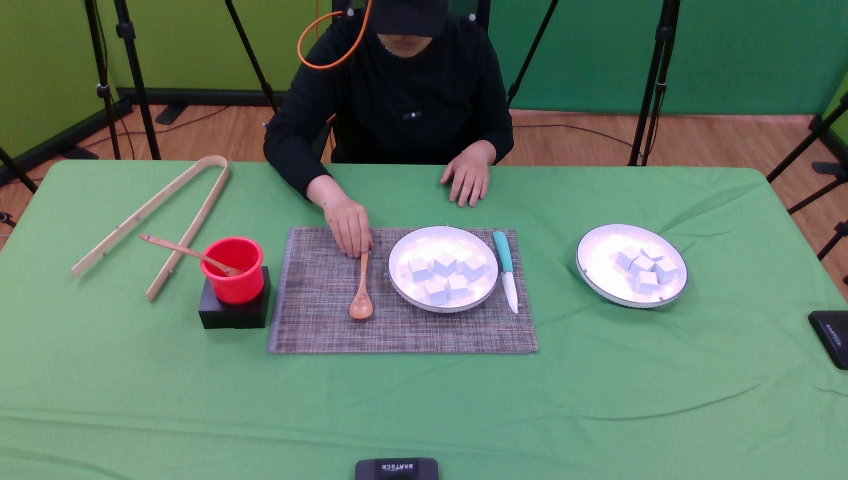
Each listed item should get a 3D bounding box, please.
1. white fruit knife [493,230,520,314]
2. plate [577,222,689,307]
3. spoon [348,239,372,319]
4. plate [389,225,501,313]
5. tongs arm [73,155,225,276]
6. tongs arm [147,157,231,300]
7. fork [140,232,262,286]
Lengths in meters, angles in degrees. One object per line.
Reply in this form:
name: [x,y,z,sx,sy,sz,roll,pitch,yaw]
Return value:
white fruit knife: [0.160,0.057,1.154,0.027,0.016,0.206,-21,46,16]
plate: [0.396,0.050,1.165,0.209,0.038,0.208,2,47,-2]
spoon: [-0.112,0.068,1.113,0.041,0.022,0.192,-2,50,2]
plate: [0.038,0.057,1.129,0.208,0.039,0.206,2,46,-2]
tongs arm: [-0.531,-0.058,1.205,0.050,0.026,0.383,18,47,13]
tongs arm: [-0.454,-0.036,1.193,0.028,0.028,0.385,6,46,6]
fork: [-0.357,0.032,0.985,0.208,0.018,0.028,30,42,-35]
